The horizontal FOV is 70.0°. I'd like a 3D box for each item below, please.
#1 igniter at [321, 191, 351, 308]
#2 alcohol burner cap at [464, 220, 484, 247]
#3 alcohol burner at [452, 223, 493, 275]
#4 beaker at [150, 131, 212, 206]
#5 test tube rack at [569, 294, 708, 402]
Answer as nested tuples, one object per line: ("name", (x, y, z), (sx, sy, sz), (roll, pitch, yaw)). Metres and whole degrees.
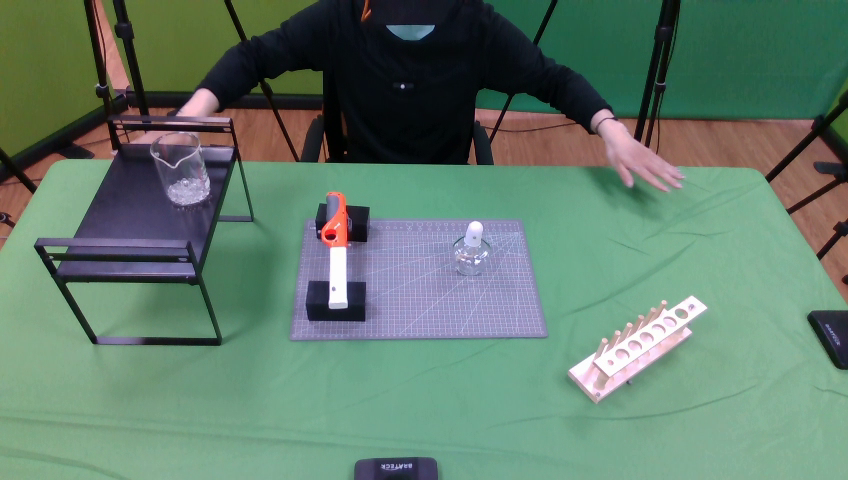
("igniter", (-0.159, 0.008, 1.101), (0.057, 0.025, 0.274), (-2, 48, -7))
("alcohol burner cap", (0.092, -0.015, 1.098), (0.034, 0.048, 0.033), (5, 44, -5))
("alcohol burner", (0.091, 0.008, 1.124), (0.078, 0.119, 0.077), (2, 48, -2))
("beaker", (-0.385, -0.110, 0.969), (0.074, 0.101, 0.083), (-6, 48, -9))
("test tube rack", (0.360, 0.167, 1.014), (0.242, 0.085, 0.066), (-25, 52, -25))
